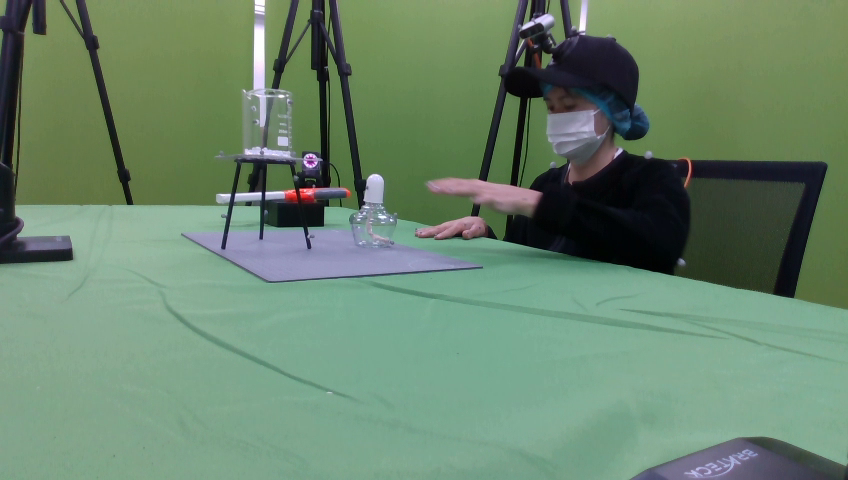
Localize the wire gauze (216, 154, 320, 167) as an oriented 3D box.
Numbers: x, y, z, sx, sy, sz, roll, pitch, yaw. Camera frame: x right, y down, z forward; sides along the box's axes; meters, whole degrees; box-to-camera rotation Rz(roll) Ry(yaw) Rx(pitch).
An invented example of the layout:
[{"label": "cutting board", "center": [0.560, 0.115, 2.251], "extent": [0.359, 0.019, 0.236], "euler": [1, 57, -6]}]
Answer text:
[{"label": "wire gauze", "center": [-0.236, -0.121, 0.906], "extent": [0.126, 0.011, 0.121], "euler": [0, 8, -33]}]

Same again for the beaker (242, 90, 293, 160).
[{"label": "beaker", "center": [-0.235, -0.169, 0.900], "extent": [0.074, 0.100, 0.084], "euler": [4, 7, 23]}]

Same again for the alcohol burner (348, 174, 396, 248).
[{"label": "alcohol burner", "center": [-0.083, -0.046, 0.973], "extent": [0.078, 0.119, 0.078], "euler": [4, 6, 0]}]

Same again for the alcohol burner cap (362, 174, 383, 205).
[{"label": "alcohol burner cap", "center": [-0.081, -0.082, 0.969], "extent": [0.034, 0.048, 0.034], "euler": [7, 8, -1]}]

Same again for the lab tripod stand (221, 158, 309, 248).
[{"label": "lab tripod stand", "center": [-0.244, -0.057, 0.917], "extent": [0.148, 0.131, 0.148], "euler": [1, 7, 0]}]

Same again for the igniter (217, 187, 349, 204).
[{"label": "igniter", "center": [-0.285, -0.093, 1.256], "extent": [0.278, 0.025, 0.057], "euler": [-6, 12, -34]}]
